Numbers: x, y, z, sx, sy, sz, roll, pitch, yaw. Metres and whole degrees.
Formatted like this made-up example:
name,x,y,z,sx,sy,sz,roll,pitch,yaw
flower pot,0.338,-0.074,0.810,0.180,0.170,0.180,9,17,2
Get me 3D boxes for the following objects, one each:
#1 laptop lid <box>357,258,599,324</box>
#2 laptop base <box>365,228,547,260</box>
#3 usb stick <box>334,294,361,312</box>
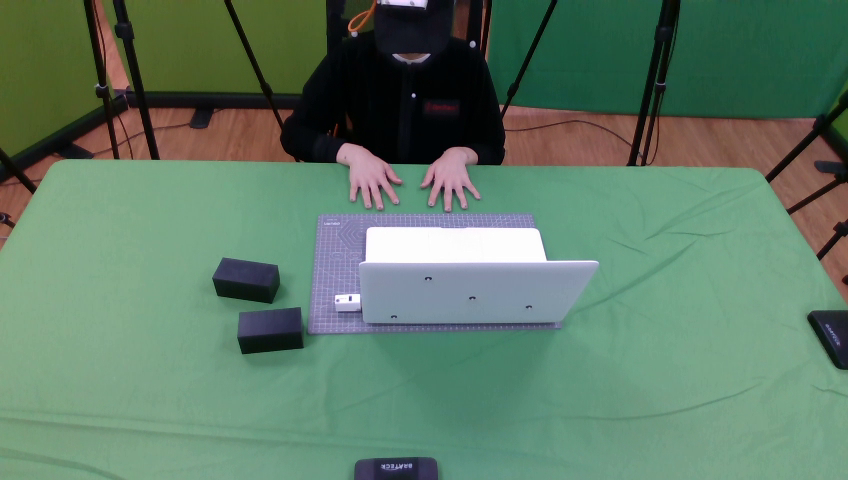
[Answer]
name,x,y,z,sx,sy,sz,roll,pitch,yaw
laptop lid,0.075,0.087,0.959,0.357,0.242,0.013,1,60,-5
laptop base,0.064,0.062,1.144,0.355,0.023,0.234,0,42,-4
usb stick,-0.128,0.111,1.066,0.059,0.027,0.021,1,45,-6
